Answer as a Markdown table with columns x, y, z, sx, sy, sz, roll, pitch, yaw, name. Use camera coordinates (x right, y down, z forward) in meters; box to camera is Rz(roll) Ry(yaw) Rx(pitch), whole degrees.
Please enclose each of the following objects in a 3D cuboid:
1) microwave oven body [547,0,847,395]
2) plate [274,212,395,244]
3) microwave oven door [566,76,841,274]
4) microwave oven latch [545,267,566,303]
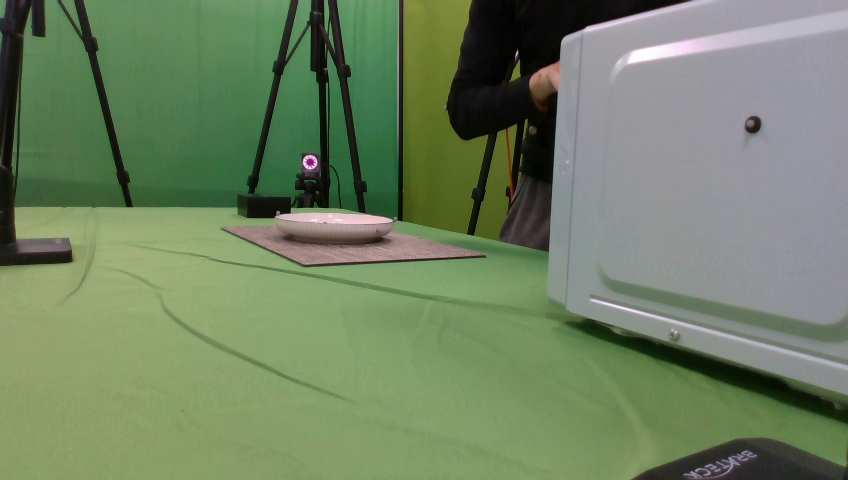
| x | y | z | sx | sy | sz | roll | pitch | yaw | name |
| --- | --- | --- | --- | --- | --- | --- | --- | --- | --- |
| 0.378 | -0.046 | 0.510 | 0.444 | 0.260 | 0.324 | -2 | 7 | -31 | microwave oven body |
| -0.157 | -0.022 | 1.066 | 0.209 | 0.038 | 0.209 | 2 | 8 | 0 | plate |
| 0.370 | -0.094 | 0.858 | 0.354 | 0.243 | 0.039 | 8 | 9 | 44 | microwave oven door |
| 0.148 | 0.039 | 0.555 | 0.079 | 0.029 | 0.030 | -1 | 7 | -28 | microwave oven latch |
